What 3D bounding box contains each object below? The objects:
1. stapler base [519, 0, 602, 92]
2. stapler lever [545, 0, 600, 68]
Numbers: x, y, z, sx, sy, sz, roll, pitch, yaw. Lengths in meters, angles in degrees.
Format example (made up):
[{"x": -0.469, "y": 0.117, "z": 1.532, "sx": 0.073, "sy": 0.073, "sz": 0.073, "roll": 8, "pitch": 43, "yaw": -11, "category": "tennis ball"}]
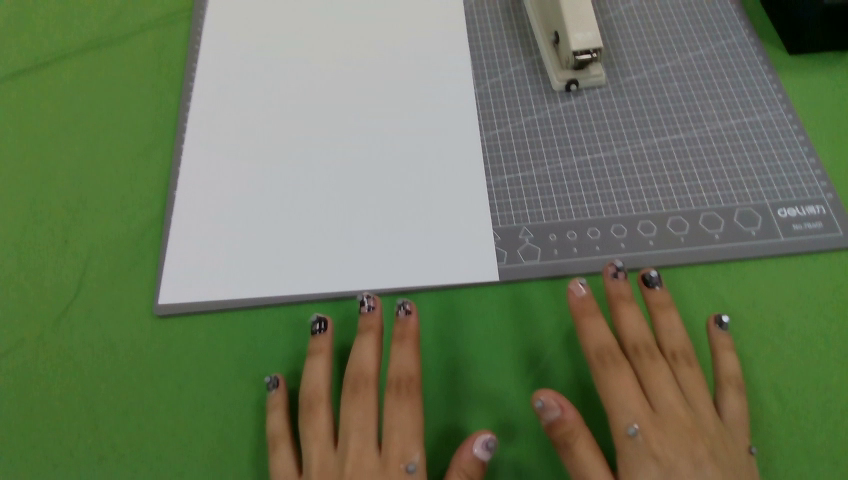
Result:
[{"x": 0.105, "y": -0.174, "z": 0.476, "sx": 0.041, "sy": 0.024, "sz": 0.129, "roll": -10, "pitch": 63, "yaw": -2, "category": "stapler base"}, {"x": 0.105, "y": -0.184, "z": 0.453, "sx": 0.027, "sy": 0.040, "sz": 0.117, "roll": -10, "pitch": 63, "yaw": -2, "category": "stapler lever"}]
